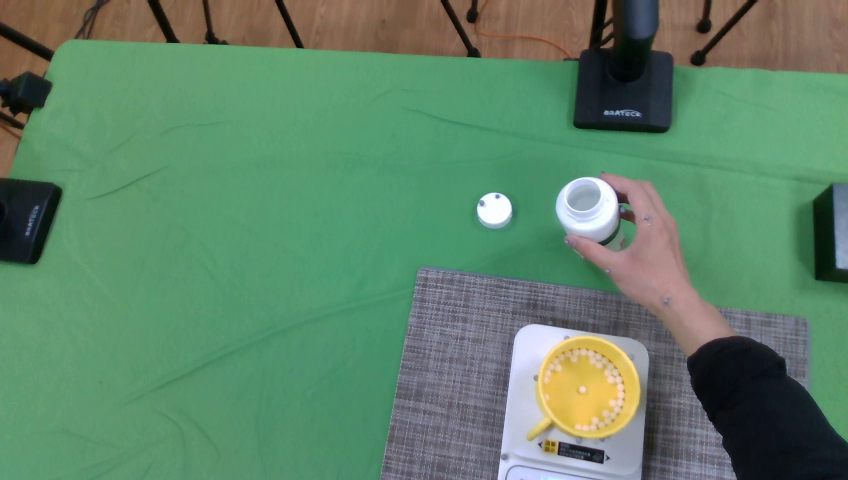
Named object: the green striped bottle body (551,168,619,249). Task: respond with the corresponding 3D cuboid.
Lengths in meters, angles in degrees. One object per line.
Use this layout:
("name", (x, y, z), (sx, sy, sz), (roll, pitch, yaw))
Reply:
("green striped bottle body", (0.176, -0.036, 0.660), (0.063, 0.120, 0.063), (-7, 70, 20))

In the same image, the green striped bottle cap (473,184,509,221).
("green striped bottle cap", (0.085, -0.048, 0.767), (0.044, 0.020, 0.044), (-2, 77, 8))

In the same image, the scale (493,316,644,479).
("scale", (0.161, 0.189, 0.670), (0.148, 0.032, 0.200), (7, 75, 10))

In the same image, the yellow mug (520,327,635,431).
("yellow mug", (0.151, 0.155, 0.632), (0.131, 0.064, 0.099), (-41, 72, -4))
